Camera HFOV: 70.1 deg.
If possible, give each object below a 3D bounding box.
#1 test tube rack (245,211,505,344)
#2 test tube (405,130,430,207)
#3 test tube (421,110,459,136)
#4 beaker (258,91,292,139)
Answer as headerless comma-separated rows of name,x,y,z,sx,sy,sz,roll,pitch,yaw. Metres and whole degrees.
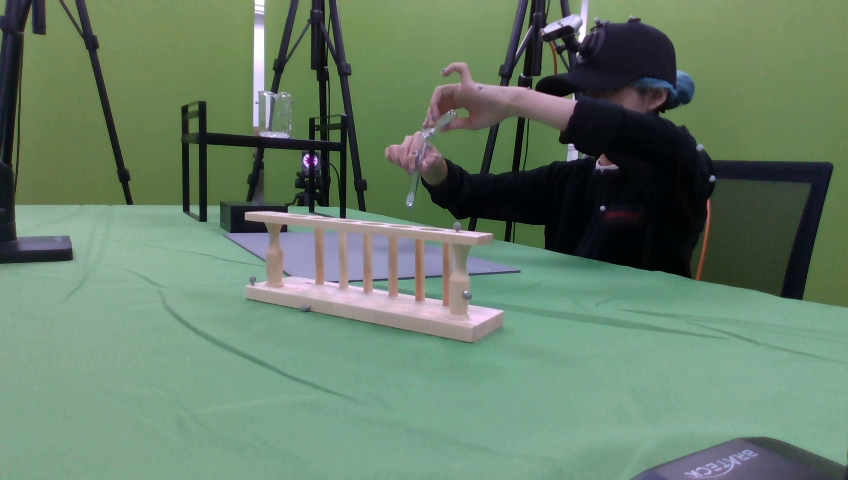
test tube rack,-0.049,0.025,0.547,0.241,0.085,0.067,7,8,29
test tube,-0.012,-0.115,1.005,0.017,0.150,0.017,9,40,-7
test tube,0.022,-0.171,0.888,0.017,0.017,0.150,1,1,-15
beaker,-0.331,-0.276,1.343,0.074,0.100,0.083,0,8,-20
